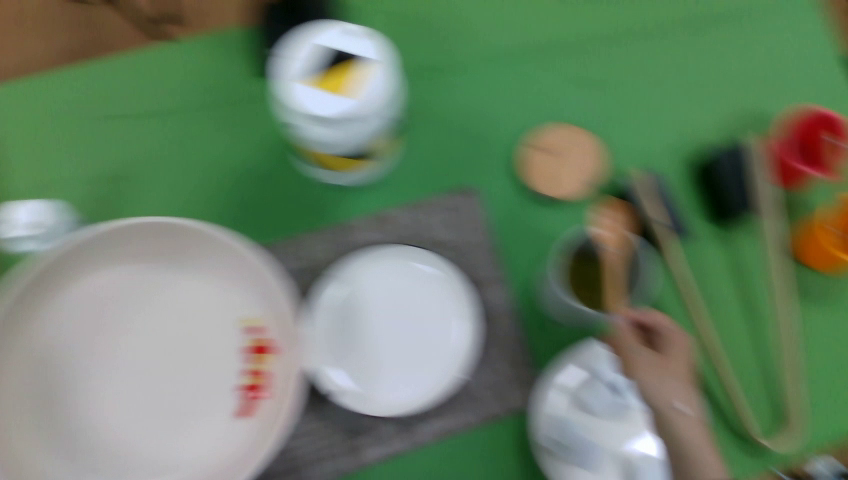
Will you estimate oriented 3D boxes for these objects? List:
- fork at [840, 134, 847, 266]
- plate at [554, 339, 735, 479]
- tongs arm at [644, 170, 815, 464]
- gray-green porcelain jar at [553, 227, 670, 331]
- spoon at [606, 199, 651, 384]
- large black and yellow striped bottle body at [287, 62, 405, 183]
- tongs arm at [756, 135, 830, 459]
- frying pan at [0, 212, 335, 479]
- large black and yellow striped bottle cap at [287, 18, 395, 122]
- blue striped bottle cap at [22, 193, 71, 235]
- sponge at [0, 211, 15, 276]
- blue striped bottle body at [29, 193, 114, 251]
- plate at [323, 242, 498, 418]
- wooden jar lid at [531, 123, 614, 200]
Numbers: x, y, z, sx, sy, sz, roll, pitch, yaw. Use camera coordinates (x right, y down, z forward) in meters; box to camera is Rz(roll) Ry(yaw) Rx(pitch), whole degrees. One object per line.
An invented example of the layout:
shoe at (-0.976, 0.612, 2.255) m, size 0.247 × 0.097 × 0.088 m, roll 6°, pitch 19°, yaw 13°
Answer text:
fork at (0.514, -0.037, 0.725) m, size 0.028 × 0.018 × 0.209 m, roll -29°, pitch 122°, yaw 0°
plate at (0.253, 0.222, 0.712) m, size 0.208 × 0.039 × 0.206 m, roll 0°, pitch 76°, yaw -1°
tongs arm at (0.360, 0.087, 0.719) m, size 0.051 × 0.026 × 0.384 m, roll -21°, pitch 87°, yaw -9°
gray-green porcelain jar at (0.211, 0.051, 0.708) m, size 0.106 × 0.127 × 0.105 m, roll 0°, pitch 75°, yaw -1°
spoon at (0.216, 0.050, 0.628) m, size 0.041 × 0.022 × 0.192 m, roll -5°, pitch 71°, yaw 18°
large black and yellow striped bottle body at (-0.090, -0.158, 0.726) m, size 0.131 × 0.185 × 0.130 m, roll 0°, pitch 75°, yaw -1°
tongs arm at (0.441, 0.064, 0.729) m, size 0.028 × 0.028 × 0.386 m, roll -7°, pitch 86°, yaw -11°
frying pan at (-0.232, 0.217, 0.573) m, size 0.308 × 0.103 × 0.484 m, roll 1°, pitch 69°, yaw -24°
large black and yellow striped bottle cap at (-0.088, -0.182, 0.645) m, size 0.115 × 0.019 × 0.114 m, roll 0°, pitch 77°, yaw -1°
blue striped bottle cap at (-0.414, -0.029, 0.664) m, size 0.044 × 0.021 × 0.044 m, roll 1°, pitch 77°, yaw -2°
sponge at (-0.603, -0.040, 0.746) m, size 0.118 × 0.061 × 0.206 m, roll -21°, pitch 78°, yaw -7°
blue striped bottle body at (-0.414, -0.015, 0.713) m, size 0.063 × 0.121 × 0.062 m, roll 0°, pitch 75°, yaw -1°
plate at (-0.016, 0.106, 0.731) m, size 0.209 × 0.038 × 0.208 m, roll 0°, pitch 76°, yaw -1°
wooden jar lid at (0.195, -0.102, 0.802) m, size 0.108 × 0.021 × 0.108 m, roll 0°, pitch 77°, yaw -1°
